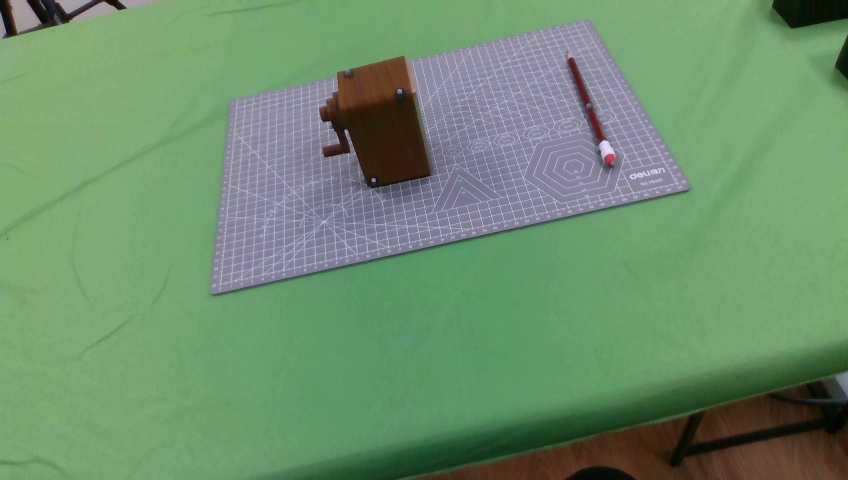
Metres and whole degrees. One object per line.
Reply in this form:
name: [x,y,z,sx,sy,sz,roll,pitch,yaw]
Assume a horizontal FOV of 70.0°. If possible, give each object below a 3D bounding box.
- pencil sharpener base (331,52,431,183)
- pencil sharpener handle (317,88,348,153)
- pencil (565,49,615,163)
pencil sharpener base: [-0.041,-0.115,0.588,0.077,0.108,0.060,-13,51,2]
pencil sharpener handle: [-0.093,-0.111,0.580,0.030,0.068,0.035,-13,51,2]
pencil: [0.169,-0.147,0.634,0.012,0.012,0.192,-9,49,5]
